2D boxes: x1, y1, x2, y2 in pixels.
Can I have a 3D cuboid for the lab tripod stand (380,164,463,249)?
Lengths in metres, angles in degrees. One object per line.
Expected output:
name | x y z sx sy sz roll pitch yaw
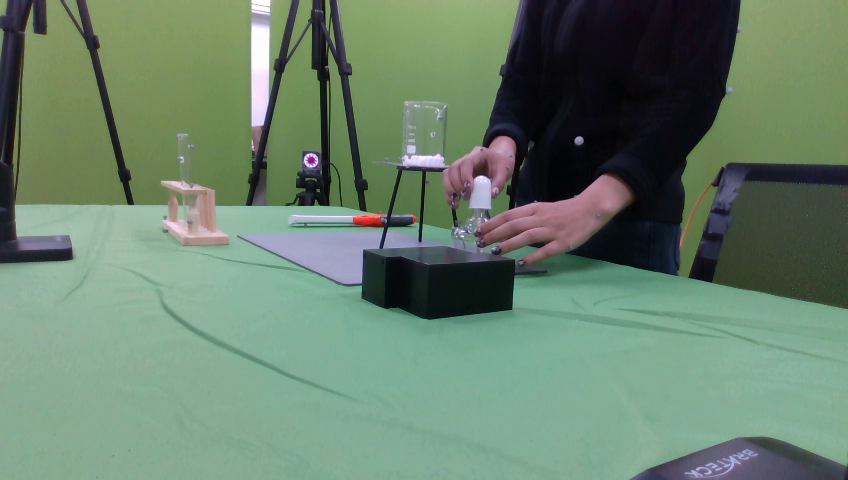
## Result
lab tripod stand | -0.003 -0.055 0.967 0.148 0.131 0.148 3 9 0

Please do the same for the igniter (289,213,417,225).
igniter | -0.144 -0.044 1.275 0.278 0.025 0.057 -1 -1 -27

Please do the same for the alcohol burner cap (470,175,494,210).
alcohol burner cap | 0.079 -0.064 0.821 0.034 0.048 0.034 2 0 0

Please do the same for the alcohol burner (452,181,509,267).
alcohol burner | 0.077 -0.023 0.821 0.078 0.119 0.078 1 9 0

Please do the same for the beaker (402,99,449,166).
beaker | 0.003 -0.168 0.957 0.073 0.100 0.084 8 10 35

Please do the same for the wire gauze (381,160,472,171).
wire gauze | -0.004 -0.120 0.959 0.122 0.011 0.124 -5 13 -33

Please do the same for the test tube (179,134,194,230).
test tube | -0.366 -0.089 0.938 0.017 0.150 0.017 -1 9 1

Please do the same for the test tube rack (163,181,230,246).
test tube rack | -0.387 -0.050 1.015 0.067 0.085 0.241 -2 9 -30
